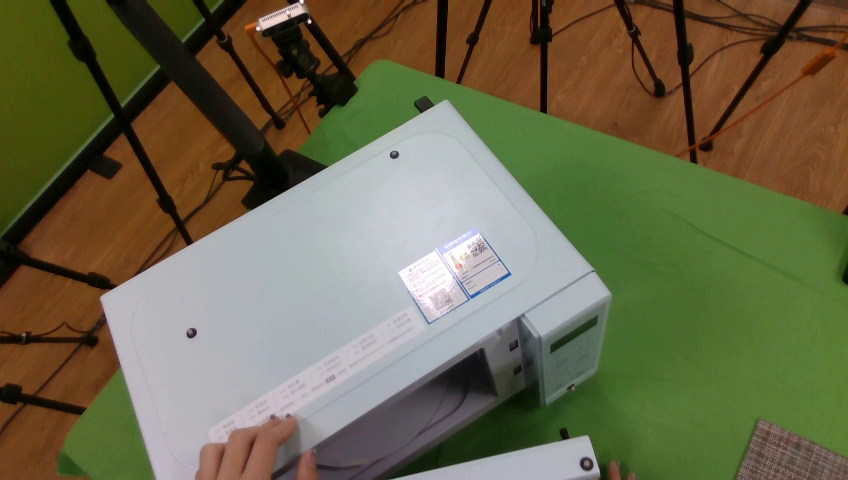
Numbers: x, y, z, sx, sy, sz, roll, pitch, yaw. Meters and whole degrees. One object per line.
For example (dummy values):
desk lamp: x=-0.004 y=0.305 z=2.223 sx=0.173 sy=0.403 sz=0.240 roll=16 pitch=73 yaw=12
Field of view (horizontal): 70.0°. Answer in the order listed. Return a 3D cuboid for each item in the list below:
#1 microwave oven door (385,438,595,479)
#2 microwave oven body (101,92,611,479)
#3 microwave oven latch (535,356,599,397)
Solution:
microwave oven door: x=-0.015 y=0.266 z=0.594 sx=0.356 sy=0.246 sz=0.039 roll=-14 pitch=58 yaw=4
microwave oven body: x=-0.069 y=0.097 z=0.705 sx=0.442 sy=0.262 sz=0.322 roll=-31 pitch=60 yaw=-6
microwave oven latch: x=0.173 y=0.157 z=0.734 sx=0.079 sy=0.030 sz=0.030 roll=-30 pitch=60 yaw=-5
